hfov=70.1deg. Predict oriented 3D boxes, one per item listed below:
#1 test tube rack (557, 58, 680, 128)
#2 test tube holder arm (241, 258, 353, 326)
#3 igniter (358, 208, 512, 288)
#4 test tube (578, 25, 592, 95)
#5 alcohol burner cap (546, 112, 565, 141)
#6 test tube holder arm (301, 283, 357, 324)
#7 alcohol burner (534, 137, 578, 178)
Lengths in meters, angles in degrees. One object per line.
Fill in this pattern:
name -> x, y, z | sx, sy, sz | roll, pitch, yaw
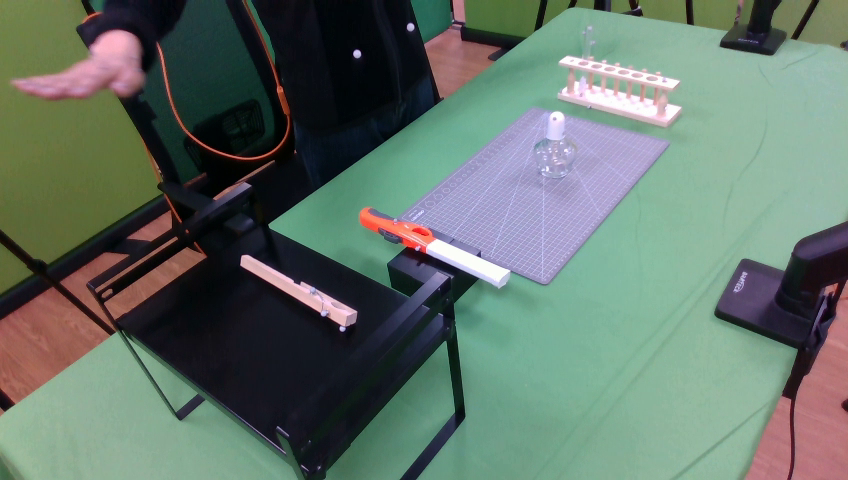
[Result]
test tube rack -> 0.395, -0.309, 1.230 | 0.240, 0.085, 0.067 | 25, 50, 33
test tube holder arm -> -0.143, 0.053, 0.658 | 0.177, 0.015, 0.013 | 21, 14, 33
igniter -> 0.005, 0.005, 0.892 | 0.274, 0.025, 0.057 | 24, 38, 31
test tube -> 0.326, -0.362, 1.227 | 0.017, 0.151, 0.017 | -3, 44, 4
alcohol burner cap -> 0.229, -0.198, 1.042 | 0.034, 0.048, 0.033 | -3, 39, 3
test tube holder arm -> -0.105, 0.066, 0.638 | 0.087, 0.015, 0.010 | 22, 14, 33
alcohol burner -> 0.232, -0.170, 1.065 | 0.078, 0.119, 0.077 | -5, 39, 5
